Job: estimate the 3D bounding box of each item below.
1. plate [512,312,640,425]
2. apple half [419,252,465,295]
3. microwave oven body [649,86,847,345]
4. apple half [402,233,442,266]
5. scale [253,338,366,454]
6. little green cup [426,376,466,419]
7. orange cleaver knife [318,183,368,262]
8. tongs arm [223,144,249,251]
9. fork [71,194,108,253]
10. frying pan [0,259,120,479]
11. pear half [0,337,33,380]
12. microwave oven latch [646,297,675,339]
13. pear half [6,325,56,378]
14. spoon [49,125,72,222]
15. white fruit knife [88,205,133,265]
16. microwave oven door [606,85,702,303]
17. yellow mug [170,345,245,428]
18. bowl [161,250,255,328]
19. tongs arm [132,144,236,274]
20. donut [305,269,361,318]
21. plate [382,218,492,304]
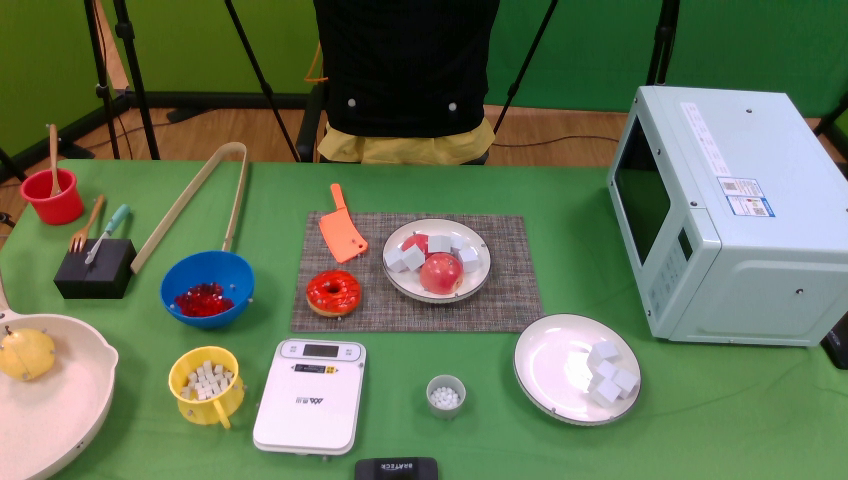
[{"bbox_3d":[0.246,0.213,0.999,0.208,0.039,0.206,2,46,-2],"label":"plate"},{"bbox_3d":[0.035,0.056,1.109,0.074,0.053,0.081,37,55,25],"label":"apple half"},{"bbox_3d":[0.567,-0.053,1.118,0.326,0.261,0.439,2,45,-1],"label":"microwave oven body"},{"bbox_3d":[-0.004,0.013,1.160,0.081,0.033,0.081,4,45,-4],"label":"apple half"},{"bbox_3d":[-0.175,0.236,0.951,0.149,0.032,0.199,4,45,-1],"label":"scale"},{"bbox_3d":[0.033,0.248,0.950,0.061,0.039,0.061,2,46,-2],"label":"little green cup"},{"bbox_3d":[-0.173,-0.037,1.218,0.077,0.012,0.210,-16,51,-12],"label":"orange cleaver knife"},{"bbox_3d":[-0.397,-0.073,1.232,0.051,0.026,0.382,-2,45,0],"label":"tongs arm"},{"bbox_3d":[-0.634,-0.036,1.158,0.028,0.019,0.206,-7,31,-8],"label":"fork"},{"bbox_3d":[-0.647,0.164,0.936,0.307,0.103,0.485,-19,58,-22],"label":"frying pan"},{"bbox_3d":[-0.631,0.184,0.921,0.070,0.088,0.031,29,49,19],"label":"pear half"},{"bbox_3d":[0.412,0.134,1.061,0.030,0.029,0.078,4,45,1],"label":"microwave oven latch"},{"bbox_3d":[-0.608,0.158,0.935,0.076,0.110,0.056,31,51,20],"label":"pear half"},{"bbox_3d":[-0.718,-0.131,1.189,0.041,0.021,0.193,-4,90,-6],"label":"spoon"},{"bbox_3d":[-0.584,-0.013,1.129,0.016,0.027,0.206,-1,32,-5],"label":"white fruit knife"},{"bbox_3d":[0.423,-0.094,1.140,0.039,0.245,0.353,2,46,-1],"label":"microwave oven door"},{"bbox_3d":[-0.322,0.230,0.922,0.100,0.064,0.130,-24,53,-25],"label":"yellow mug"},{"bbox_3d":[-0.362,0.098,1.039,0.151,0.077,0.150,2,45,-2],"label":"bowl"},{"bbox_3d":[-0.482,-0.077,1.235,0.028,0.028,0.385,6,45,12],"label":"tongs arm"},{"bbox_3d":[-0.160,0.094,1.075,0.099,0.048,0.098,4,45,-3],"label":"donut"},{"bbox_3d":[0.023,0.042,1.143,0.209,0.038,0.208,2,46,-2],"label":"plate"}]
